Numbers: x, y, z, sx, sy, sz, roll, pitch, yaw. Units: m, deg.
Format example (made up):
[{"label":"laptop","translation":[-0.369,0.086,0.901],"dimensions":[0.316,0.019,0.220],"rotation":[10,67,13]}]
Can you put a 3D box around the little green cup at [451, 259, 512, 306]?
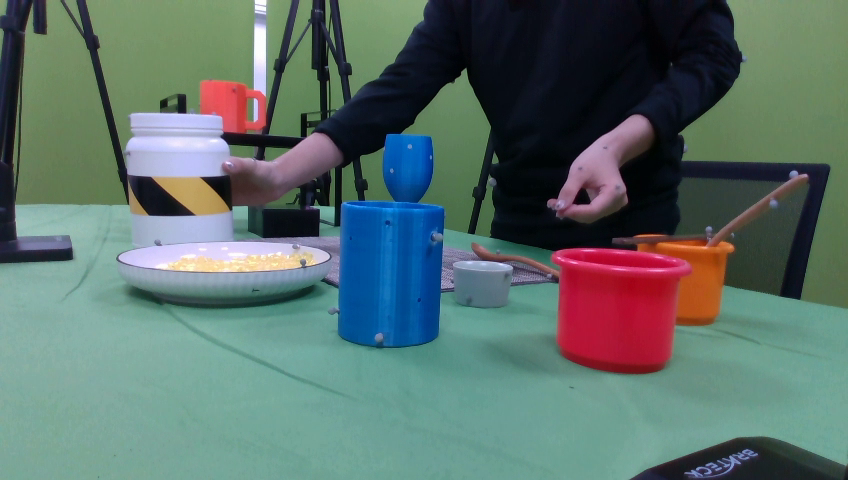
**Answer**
[{"label":"little green cup","translation":[0.057,0.043,0.611],"dimensions":[0.061,0.038,0.061],"rotation":[3,7,0]}]

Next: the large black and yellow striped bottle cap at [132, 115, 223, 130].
[{"label":"large black and yellow striped bottle cap","translation":[-0.333,-0.159,0.820],"dimensions":[0.115,0.019,0.115],"rotation":[-1,9,0]}]

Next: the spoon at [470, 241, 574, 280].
[{"label":"spoon","translation":[0.125,0.025,0.801],"dimensions":[0.042,0.021,0.192],"rotation":[24,-6,-34]}]

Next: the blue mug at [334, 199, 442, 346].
[{"label":"blue mug","translation":[-0.034,0.020,0.498],"dimensions":[0.083,0.106,0.116],"rotation":[0,7,-19]}]

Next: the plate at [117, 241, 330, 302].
[{"label":"plate","translation":[-0.203,0.031,0.630],"dimensions":[0.209,0.038,0.209],"rotation":[3,7,0]}]

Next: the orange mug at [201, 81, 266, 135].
[{"label":"orange mug","translation":[-0.376,-0.260,1.198],"dimensions":[0.126,0.101,0.083],"rotation":[-3,8,-6]}]

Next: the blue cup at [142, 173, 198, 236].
[{"label":"blue cup","translation":[-0.425,-0.060,1.014],"dimensions":[0.093,0.100,0.092],"rotation":[4,9,0]}]

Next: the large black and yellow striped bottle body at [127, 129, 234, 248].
[{"label":"large black and yellow striped bottle body","translation":[-0.335,-0.076,0.835],"dimensions":[0.131,0.184,0.130],"rotation":[1,9,0]}]

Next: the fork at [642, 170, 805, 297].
[{"label":"fork","translation":[0.261,0.003,0.545],"dimensions":[0.028,0.018,0.207],"rotation":[5,-37,-15]}]

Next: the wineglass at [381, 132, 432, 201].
[{"label":"wineglass","translation":[-0.026,-0.062,0.841],"dimensions":[0.074,0.172,0.073],"rotation":[2,7,0]}]

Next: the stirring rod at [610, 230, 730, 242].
[{"label":"stirring rod","translation":[0.241,-0.005,0.582],"dimensions":[0.177,0.006,0.014],"rotation":[-3,10,-34]}]
